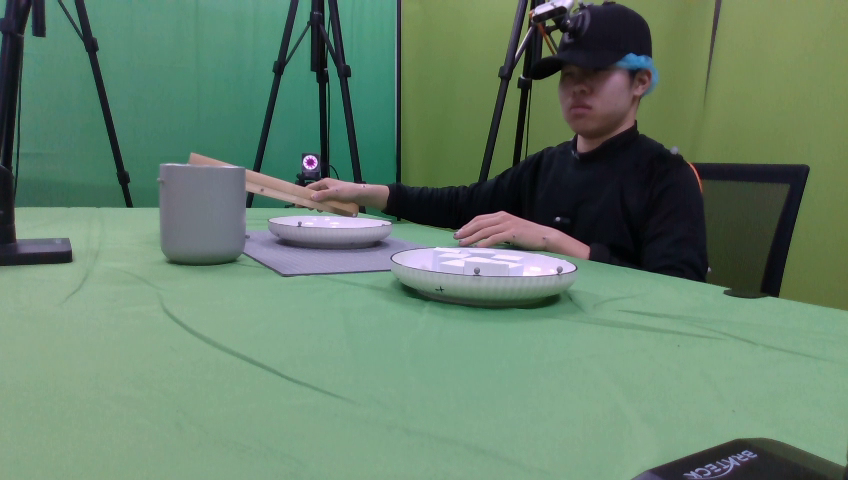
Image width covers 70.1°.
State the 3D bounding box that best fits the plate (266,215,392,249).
[{"bbox_3d":[-0.159,-0.015,1.019,0.209,0.038,0.209,3,7,0],"label":"plate"}]

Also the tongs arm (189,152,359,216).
[{"bbox_3d":[-0.311,-0.118,1.319,0.390,0.027,0.028,17,-17,-30],"label":"tongs arm"}]

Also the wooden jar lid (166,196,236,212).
[{"bbox_3d":[-0.369,-0.060,1.001,0.108,0.020,0.108,3,6,0],"label":"wooden jar lid"}]

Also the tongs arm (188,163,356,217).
[{"bbox_3d":[-0.339,-0.112,1.379,0.386,0.026,0.050,15,-13,-21],"label":"tongs arm"}]

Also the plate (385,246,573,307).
[{"bbox_3d":[0.060,0.041,0.678,0.208,0.039,0.207,3,7,0],"label":"plate"}]

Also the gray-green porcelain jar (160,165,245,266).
[{"bbox_3d":[-0.291,-0.034,0.799,0.106,0.126,0.106,2,8,0],"label":"gray-green porcelain jar"}]
